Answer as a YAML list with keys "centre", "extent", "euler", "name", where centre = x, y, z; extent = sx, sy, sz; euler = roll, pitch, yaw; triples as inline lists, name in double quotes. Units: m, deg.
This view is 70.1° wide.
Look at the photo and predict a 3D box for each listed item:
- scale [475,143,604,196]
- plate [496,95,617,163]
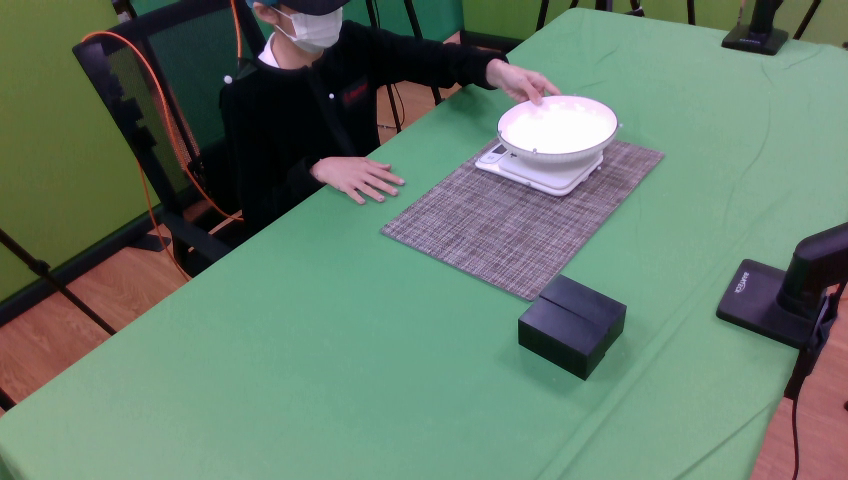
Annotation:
- centre: [0.209, -0.149, 1.105]
  extent: [0.199, 0.032, 0.149]
  euler: [26, 50, 34]
  name: "scale"
- centre: [0.232, -0.191, 1.069]
  extent: [0.207, 0.039, 0.206]
  euler: [-5, 39, 5]
  name: "plate"
